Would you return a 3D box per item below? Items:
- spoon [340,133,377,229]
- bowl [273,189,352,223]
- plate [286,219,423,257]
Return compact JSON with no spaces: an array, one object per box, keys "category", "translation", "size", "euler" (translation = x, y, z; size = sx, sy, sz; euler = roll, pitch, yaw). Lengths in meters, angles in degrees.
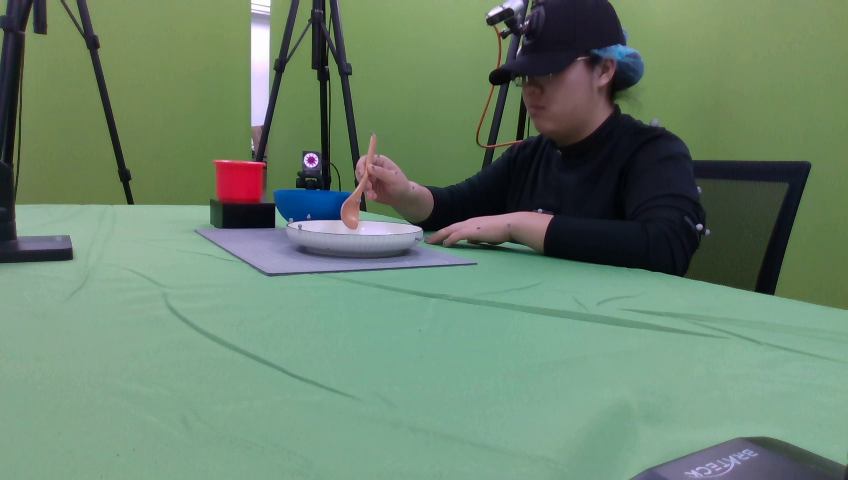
[{"category":"spoon","translation":[-0.102,-0.102,1.000],"size":[0.021,0.193,0.042],"euler":[-9,-36,40]},{"category":"bowl","translation":[-0.195,-0.049,1.083],"size":[0.151,0.077,0.151],"euler":[3,7,0]},{"category":"plate","translation":[-0.105,-0.004,0.922],"size":[0.208,0.039,0.207],"euler":[3,7,0]}]
